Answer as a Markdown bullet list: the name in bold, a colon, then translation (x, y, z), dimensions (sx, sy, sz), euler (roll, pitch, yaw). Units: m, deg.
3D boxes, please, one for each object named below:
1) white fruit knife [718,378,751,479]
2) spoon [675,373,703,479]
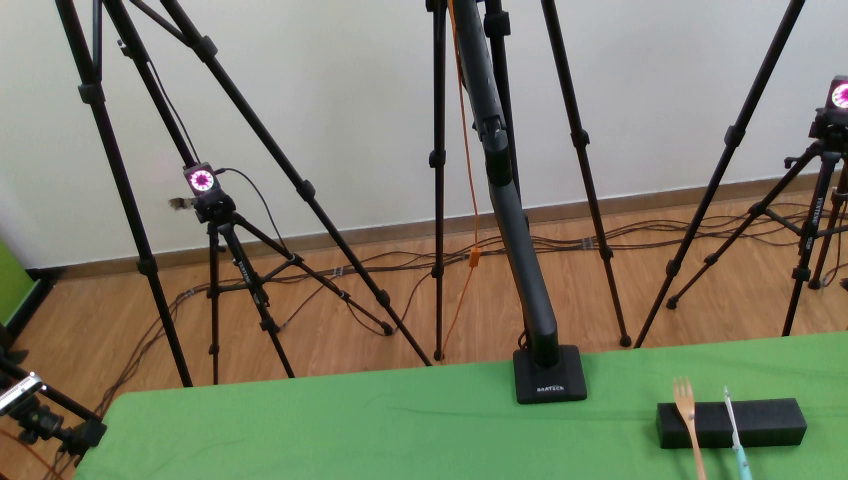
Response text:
- **white fruit knife**: translation (0.453, 0.300, 0.880), dimensions (0.016, 0.028, 0.205), euler (-2, 55, 6)
- **spoon**: translation (0.398, 0.293, 0.895), dimensions (0.041, 0.022, 0.192), euler (-14, 56, 35)
